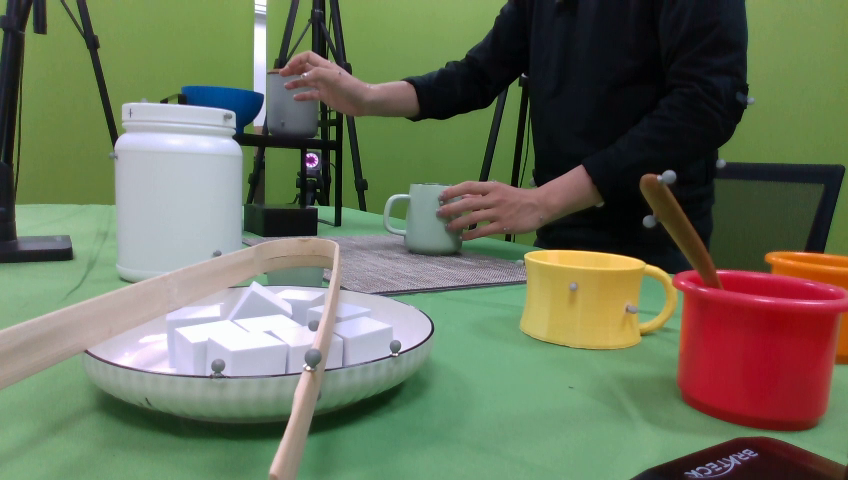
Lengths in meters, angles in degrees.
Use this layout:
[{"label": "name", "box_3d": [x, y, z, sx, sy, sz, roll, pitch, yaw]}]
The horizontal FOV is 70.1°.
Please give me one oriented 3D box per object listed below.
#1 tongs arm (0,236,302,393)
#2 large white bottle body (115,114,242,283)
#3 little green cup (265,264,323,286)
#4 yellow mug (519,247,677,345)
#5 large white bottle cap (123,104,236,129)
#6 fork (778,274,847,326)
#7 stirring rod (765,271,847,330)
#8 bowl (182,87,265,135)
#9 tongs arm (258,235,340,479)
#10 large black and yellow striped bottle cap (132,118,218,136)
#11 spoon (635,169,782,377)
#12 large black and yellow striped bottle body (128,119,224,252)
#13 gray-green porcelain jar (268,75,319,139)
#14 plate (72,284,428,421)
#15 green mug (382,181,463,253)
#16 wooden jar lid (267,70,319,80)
[{"label": "tongs arm", "box_3d": [-0.157, 0.038, 0.347, 0.028, 0.028, 0.388, -3, 8, 11]}, {"label": "large white bottle body", "box_3d": [-0.270, -0.051, 0.673, 0.131, 0.184, 0.130, 2, 8, 0]}, {"label": "little green cup", "box_3d": [-0.134, 0.033, 0.628, 0.061, 0.038, 0.061, 3, 7, 0]}, {"label": "yellow mug", "box_3d": [0.148, 0.045, 0.513, 0.131, 0.064, 0.100, 3, 7, 0]}, {"label": "large white bottle cap", "box_3d": [-0.266, -0.134, 0.663, 0.115, 0.018, 0.115, 3, 7, 0]}, {"label": "fork", "box_3d": [0.332, 0.019, 0.443, 0.028, 0.018, 0.207, -3, -35, -16]}, {"label": "stirring rod", "box_3d": [0.352, 0.020, 0.481, 0.176, 0.006, 0.014, -40, -8, 17]}, {"label": "bowl", "box_3d": [-0.383, -0.243, 1.158, 0.151, 0.077, 0.151, 2, 6, 0]}, {"label": "tongs arm", "box_3d": [-0.074, 0.040, 0.345, 0.051, 0.026, 0.384, -1, 10, -3]}, {"label": "large black and yellow striped bottle cap", "box_3d": [-0.359, -0.164, 0.875, 0.115, 0.019, 0.115, 2, 6, 0]}, {"label": "spoon", "box_3d": [0.161, 0.026, 0.346, 0.021, 0.194, 0.041, -51, 32, -20]}, {"label": "large black and yellow striped bottle body", "box_3d": [-0.361, -0.081, 0.887, 0.131, 0.184, 0.130, 2, 8, 0]}, {"label": "gray-green porcelain jar", "box_3d": [-0.277, -0.279, 1.280, 0.106, 0.126, 0.106, 2, 8, 0]}, {"label": "plate", "box_3d": [-0.102, 0.067, 0.381, 0.208, 0.039, 0.207, 3, 7, 0]}, {"label": "green mug", "box_3d": [-0.001, -0.036, 0.921, 0.126, 0.105, 0.092, 0, 7, -15]}, {"label": "wooden jar lid", "box_3d": [-0.275, -0.339, 1.271, 0.108, 0.020, 0.108, 5, 6, 0]}]
